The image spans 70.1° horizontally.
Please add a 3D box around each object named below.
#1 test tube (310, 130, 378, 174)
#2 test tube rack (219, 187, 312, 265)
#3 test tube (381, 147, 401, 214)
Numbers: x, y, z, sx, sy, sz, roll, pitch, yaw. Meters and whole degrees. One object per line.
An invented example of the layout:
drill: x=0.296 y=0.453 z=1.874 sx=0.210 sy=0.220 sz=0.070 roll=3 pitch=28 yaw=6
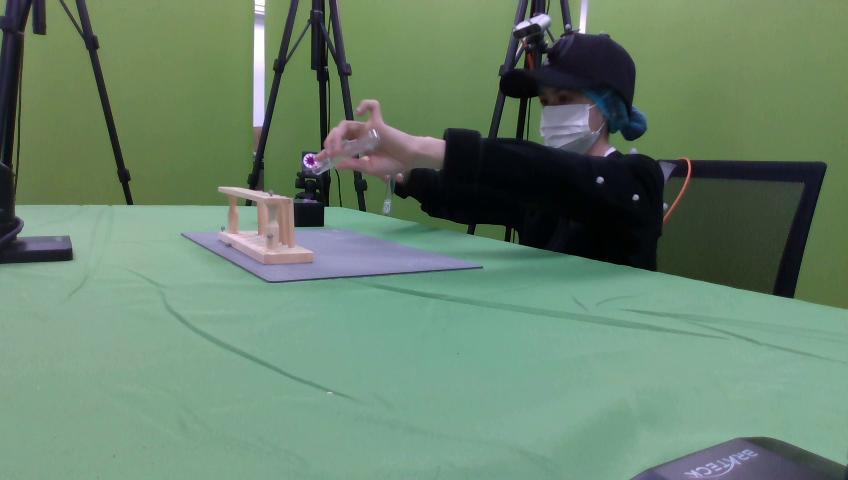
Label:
test tube: x=-0.106 y=-0.113 z=0.787 sx=0.017 sy=0.017 sz=0.150 roll=-4 pitch=-9 yaw=-41
test tube rack: x=-0.235 y=-0.027 z=0.872 sx=0.067 sy=0.085 sz=0.241 roll=-2 pitch=8 yaw=-31
test tube: x=-0.060 y=-0.104 z=1.083 sx=0.017 sy=0.150 sz=0.017 roll=8 pitch=44 yaw=-7
